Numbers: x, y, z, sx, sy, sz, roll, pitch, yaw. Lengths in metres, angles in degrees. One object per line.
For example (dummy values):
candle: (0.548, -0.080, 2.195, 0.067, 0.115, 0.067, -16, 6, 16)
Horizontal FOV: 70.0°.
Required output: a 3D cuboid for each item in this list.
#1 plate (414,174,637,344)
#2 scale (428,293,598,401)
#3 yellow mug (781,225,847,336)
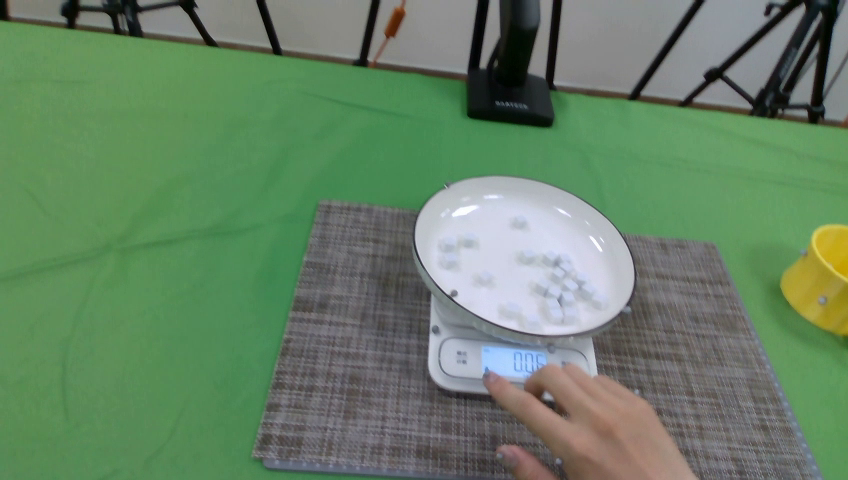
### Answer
plate: (0.092, 0.015, 0.569, 0.209, 0.038, 0.207, 5, 44, -5)
scale: (0.082, 0.055, 0.574, 0.149, 0.032, 0.199, 7, 44, -3)
yellow mug: (0.439, 0.051, 0.620, 0.100, 0.064, 0.129, 5, 45, -4)
